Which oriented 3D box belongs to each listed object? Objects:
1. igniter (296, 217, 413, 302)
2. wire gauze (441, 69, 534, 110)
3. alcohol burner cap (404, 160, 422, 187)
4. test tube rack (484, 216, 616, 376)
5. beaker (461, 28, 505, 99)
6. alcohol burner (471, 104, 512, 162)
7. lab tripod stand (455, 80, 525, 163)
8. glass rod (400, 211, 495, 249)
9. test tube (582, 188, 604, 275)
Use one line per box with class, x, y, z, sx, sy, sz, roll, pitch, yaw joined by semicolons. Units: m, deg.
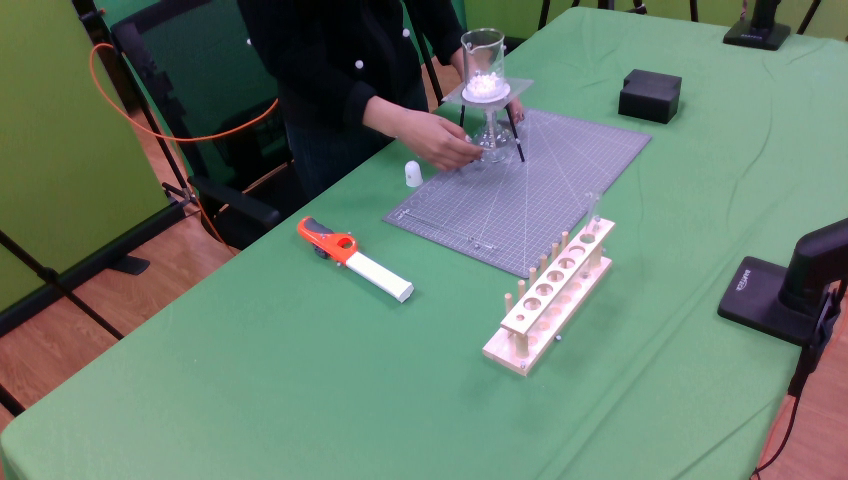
igniter;-0.121;0.025;0.970;0.274;0.025;0.057;29;63;37
wire gauze;0.114;-0.268;1.082;0.120;0.011;0.125;22;47;29
alcohol burner cap;-0.022;-0.125;1.118;0.034;0.048;0.033;-4;41;4
test tube rack;0.174;0.064;0.823;0.066;0.085;0.243;23;49;33
beaker;0.103;-0.304;1.051;0.073;0.101;0.084;19;48;29
alcohol burner;0.125;-0.207;1.125;0.078;0.119;0.077;-5;42;5
lab tripod stand;0.121;-0.219;1.126;0.148;0.132;0.147;-4;39;4
glass rod;0.035;-0.018;1.001;0.198;0.008;0.008;22;50;35
test tube;0.228;-0.007;0.821;0.017;0.151;0.017;-3;42;3
